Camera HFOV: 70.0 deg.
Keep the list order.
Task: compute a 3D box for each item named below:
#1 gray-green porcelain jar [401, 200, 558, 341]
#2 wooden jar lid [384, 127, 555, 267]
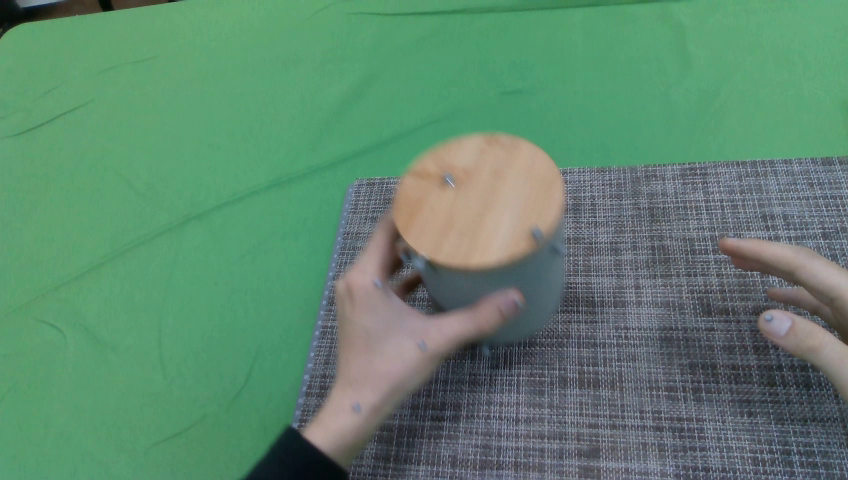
[{"bbox_3d":[0.042,0.007,0.438,0.106,0.128,0.105,-6,55,10],"label":"gray-green porcelain jar"},{"bbox_3d":[0.029,-0.027,0.388,0.108,0.021,0.107,-5,57,9],"label":"wooden jar lid"}]
